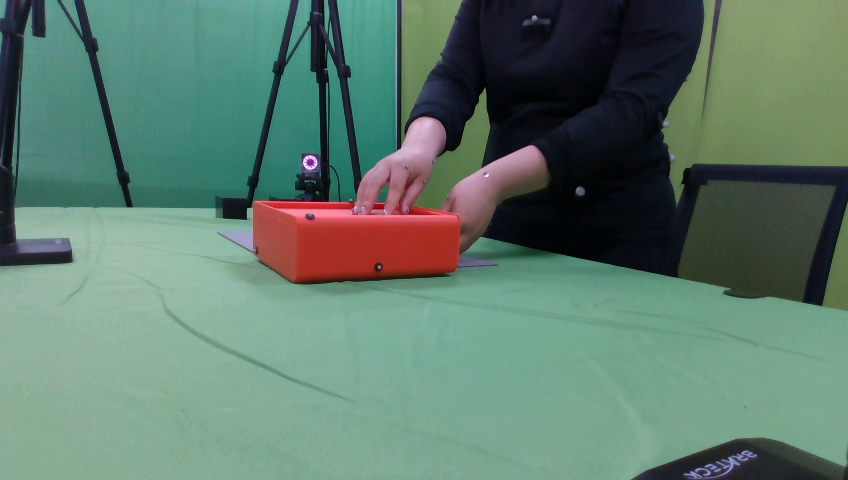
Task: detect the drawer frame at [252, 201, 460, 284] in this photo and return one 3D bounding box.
[{"bbox_3d":[-0.094,-0.004,0.789,0.215,0.082,0.200,-2,10,-30],"label":"drawer frame"}]

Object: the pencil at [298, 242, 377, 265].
[{"bbox_3d":[-0.106,0.015,0.791,0.012,0.012,0.195,6,8,22],"label":"pencil"}]

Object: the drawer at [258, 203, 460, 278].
[{"bbox_3d":[-0.090,-0.005,0.793,0.213,0.073,0.193,-3,10,-29],"label":"drawer"}]
